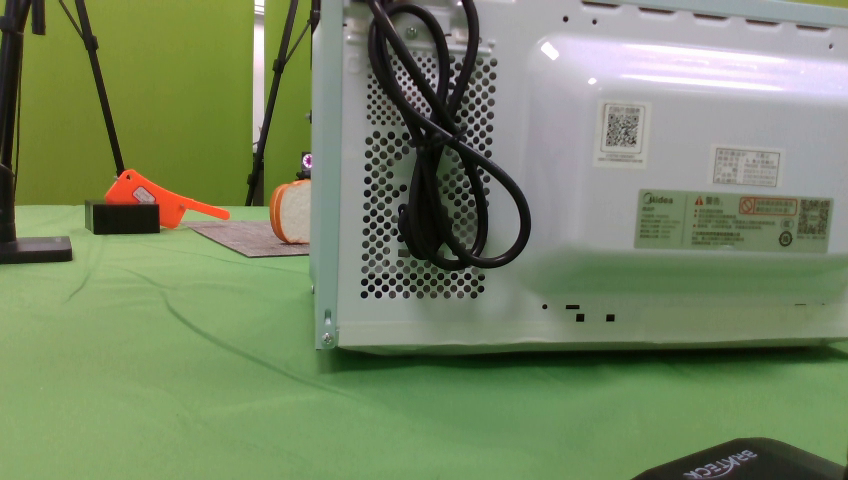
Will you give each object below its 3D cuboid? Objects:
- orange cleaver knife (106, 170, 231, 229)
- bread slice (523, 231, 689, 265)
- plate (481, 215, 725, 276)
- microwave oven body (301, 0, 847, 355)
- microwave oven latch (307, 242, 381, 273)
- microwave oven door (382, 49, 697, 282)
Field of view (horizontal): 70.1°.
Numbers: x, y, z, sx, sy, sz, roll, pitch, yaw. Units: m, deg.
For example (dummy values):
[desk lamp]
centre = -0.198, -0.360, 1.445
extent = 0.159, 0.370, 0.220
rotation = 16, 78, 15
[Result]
[orange cleaver knife]
centre = -0.458, -0.060, 1.097
extent = 0.212, 0.077, 0.012
rotation = 23, -4, -38
[bread slice]
centre = 0.174, 0.007, 0.565
extent = 0.134, 0.018, 0.107
rotation = -5, 4, 28
[plate]
centre = 0.156, 0.002, 0.545
extent = 0.208, 0.039, 0.207
rotation = -1, 6, 0
[microwave oven body]
centre = 0.120, -0.053, 0.535
extent = 0.443, 0.260, 0.325
rotation = 2, 7, -11
[microwave oven latch]
centre = -0.086, 0.019, 0.656
extent = 0.079, 0.029, 0.030
rotation = 2, 7, -10
[microwave oven door]
centre = 0.135, -0.077, 0.685
extent = 0.357, 0.243, 0.039
rotation = 1, 8, -12
